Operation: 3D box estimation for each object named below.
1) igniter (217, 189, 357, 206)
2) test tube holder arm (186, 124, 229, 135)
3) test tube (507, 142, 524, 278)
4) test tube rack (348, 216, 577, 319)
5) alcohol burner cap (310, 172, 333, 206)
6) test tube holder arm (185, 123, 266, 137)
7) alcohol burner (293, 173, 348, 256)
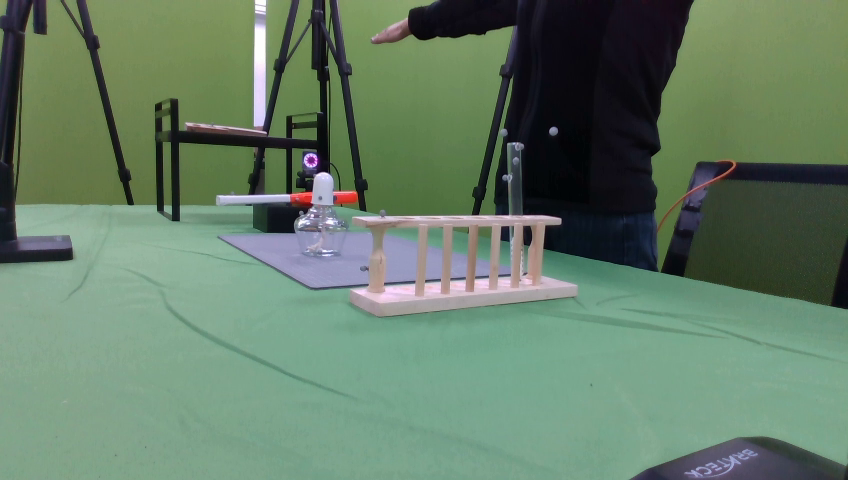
[{"bbox_3d":[-0.251,-0.081,1.155,0.278,0.025,0.057,-5,8,-32],"label":"igniter"},{"bbox_3d":[-0.464,-0.237,1.299,0.088,0.015,0.010,-1,46,-41],"label":"test tube holder arm"},{"bbox_3d":[0.101,-0.032,0.666,0.017,0.150,0.017,-2,6,1],"label":"test tube"},{"bbox_3d":[0.048,0.021,0.619,0.244,0.085,0.066,-2,9,-31],"label":"test tube rack"},{"bbox_3d":[-0.144,-0.071,0.854,0.034,0.048,0.034,4,9,0],"label":"alcohol burner cap"},{"bbox_3d":[-0.433,-0.242,1.333,0.179,0.015,0.013,-3,47,-42],"label":"test tube holder arm"},{"bbox_3d":[-0.146,-0.036,0.859,0.078,0.119,0.078,4,8,0],"label":"alcohol burner"}]
